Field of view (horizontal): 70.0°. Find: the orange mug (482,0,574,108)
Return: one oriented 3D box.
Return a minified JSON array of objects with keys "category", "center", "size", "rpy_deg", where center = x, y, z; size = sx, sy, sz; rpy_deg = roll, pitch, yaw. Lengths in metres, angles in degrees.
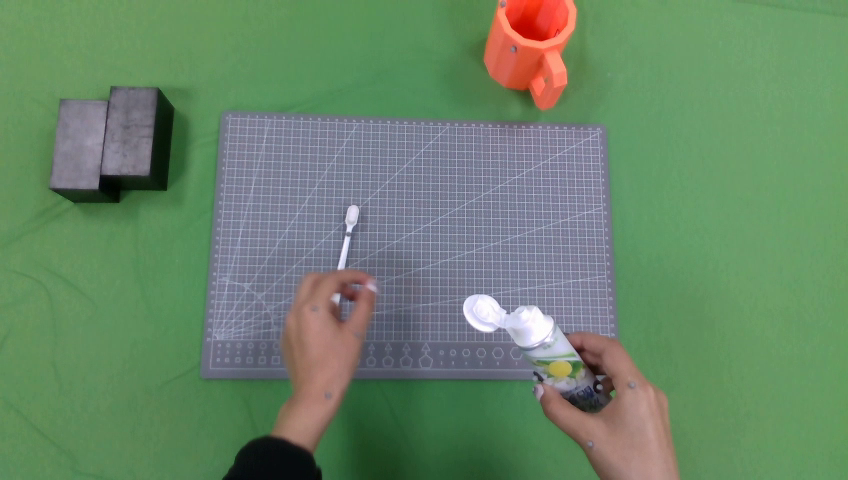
[{"category":"orange mug","center":[0.123,-0.219,0.690],"size":[0.083,0.101,0.125],"rpy_deg":[-20,76,-8]}]

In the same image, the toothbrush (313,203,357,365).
[{"category":"toothbrush","center":[-0.096,0.045,0.658],"size":[0.014,0.016,0.181],"rpy_deg":[14,79,-15]}]

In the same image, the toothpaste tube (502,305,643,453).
[{"category":"toothpaste tube","center":[0.116,0.115,0.495],"size":[0.055,0.034,0.166],"rpy_deg":[-29,112,25]}]

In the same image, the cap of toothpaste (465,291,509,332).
[{"category":"cap of toothpaste","center":[0.050,0.056,0.481],"size":[0.037,0.011,0.037],"rpy_deg":[11,55,-16]}]
